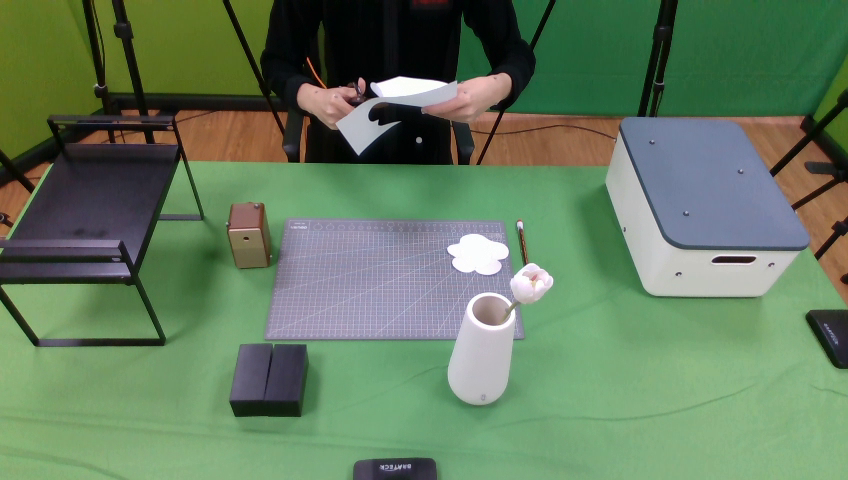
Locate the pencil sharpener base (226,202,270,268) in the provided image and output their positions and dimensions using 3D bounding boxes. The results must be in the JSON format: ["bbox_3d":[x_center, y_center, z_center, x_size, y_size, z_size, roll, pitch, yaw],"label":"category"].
[{"bbox_3d":[-0.323,-0.010,1.123,0.061,0.107,0.076,-3,46,-7],"label":"pencil sharpener base"}]

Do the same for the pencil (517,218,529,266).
[{"bbox_3d":[0.200,0.028,1.196,0.012,0.012,0.193,1,48,-3],"label":"pencil"}]

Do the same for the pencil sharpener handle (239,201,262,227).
[{"bbox_3d":[-0.325,-0.055,1.150,0.036,0.068,0.030,-13,46,3],"label":"pencil sharpener handle"}]

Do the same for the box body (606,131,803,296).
[{"bbox_3d":[0.530,-0.067,1.204,0.254,0.161,0.361,1,46,-4],"label":"box body"}]

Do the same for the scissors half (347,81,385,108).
[{"bbox_3d":[-0.103,-0.251,1.063,0.013,0.040,0.174,-19,28,-21],"label":"scissors half"}]

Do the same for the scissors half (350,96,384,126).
[{"bbox_3d":[-0.100,-0.231,1.068,0.013,0.175,0.040,-13,94,-22],"label":"scissors half"}]

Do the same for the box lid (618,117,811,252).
[{"bbox_3d":[0.534,-0.117,1.149,0.263,0.015,0.369,0,47,-3],"label":"box lid"}]

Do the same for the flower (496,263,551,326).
[{"bbox_3d":[0.102,0.120,0.853,0.044,0.363,0.038,-2,64,-10],"label":"flower"}]

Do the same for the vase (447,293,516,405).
[{"bbox_3d":[0.091,0.169,0.921,0.098,0.201,0.097,3,47,-3],"label":"vase"}]
